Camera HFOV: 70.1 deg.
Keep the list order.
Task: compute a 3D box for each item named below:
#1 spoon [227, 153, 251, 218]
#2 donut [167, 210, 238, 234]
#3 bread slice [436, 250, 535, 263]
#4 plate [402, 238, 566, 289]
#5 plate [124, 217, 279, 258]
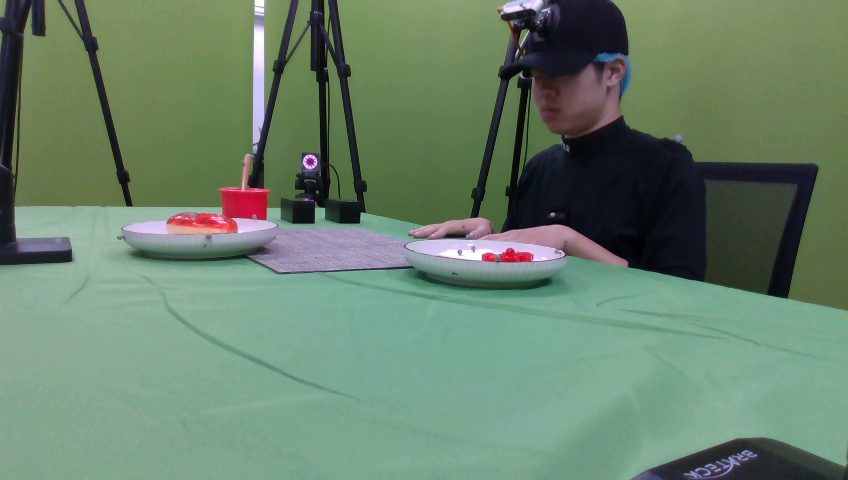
[{"bbox_3d":[-0.363,-0.107,1.211,0.042,0.021,0.193,-1,47,-7],"label":"spoon"},{"bbox_3d":[-0.321,-0.017,0.882,0.099,0.048,0.099,3,6,0],"label":"donut"},{"bbox_3d":[0.078,0.031,0.774,0.105,0.019,0.131,-4,11,-45],"label":"bread slice"},{"bbox_3d":[0.074,0.029,0.772,0.209,0.038,0.209,3,7,0],"label":"plate"},{"bbox_3d":[-0.315,-0.004,0.871,0.208,0.039,0.207,1,8,0],"label":"plate"}]
